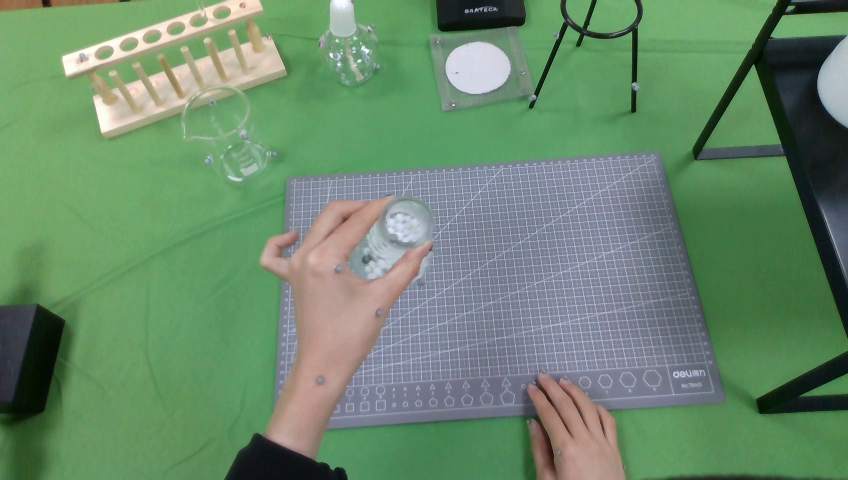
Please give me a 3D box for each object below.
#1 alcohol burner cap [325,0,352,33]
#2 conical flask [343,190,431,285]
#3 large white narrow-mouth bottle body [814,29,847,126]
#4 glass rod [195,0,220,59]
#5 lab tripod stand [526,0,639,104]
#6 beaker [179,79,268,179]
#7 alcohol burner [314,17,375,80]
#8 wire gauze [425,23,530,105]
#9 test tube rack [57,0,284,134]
[{"bbox_3d":[-0.102,-0.276,0.722,0.034,0.048,0.033,3,63,-6],"label":"alcohol burner cap"},{"bbox_3d":[-0.023,-0.007,0.468,0.075,0.122,0.075,1,81,-9],"label":"conical flask"},{"bbox_3d":[0.390,-0.173,0.451,0.102,0.196,0.101,-1,63,2],"label":"large white narrow-mouth bottle body"},{"bbox_3d":[-0.268,-0.288,0.716,0.008,0.201,0.008,1,62,-2],"label":"glass rod"},{"bbox_3d":[0.196,-0.233,0.720,0.148,0.132,0.147,0,64,0],"label":"lab tripod stand"},{"bbox_3d":[-0.229,-0.122,0.702,0.073,0.101,0.084,41,73,20],"label":"beaker"},{"bbox_3d":[-0.101,-0.258,0.754,0.078,0.120,0.077,0,62,1],"label":"alcohol burner"},{"bbox_3d":[0.069,-0.236,0.795,0.121,0.011,0.124,-8,64,-3],"label":"wire gauze"},{"bbox_3d":[-0.311,-0.224,0.761,0.242,0.086,0.066,-22,66,-8],"label":"test tube rack"}]
